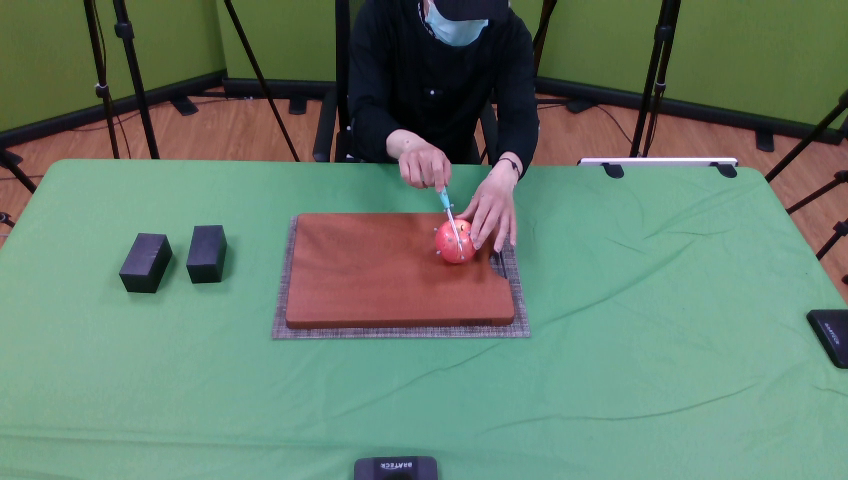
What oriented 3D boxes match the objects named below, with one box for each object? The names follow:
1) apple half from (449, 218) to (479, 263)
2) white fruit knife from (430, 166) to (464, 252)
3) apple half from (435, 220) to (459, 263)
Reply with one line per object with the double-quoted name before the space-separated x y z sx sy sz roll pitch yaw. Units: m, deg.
"apple half" 0.075 0.001 1.123 0.053 0.075 0.080 -7 41 -16
"white fruit knife" 0.043 -0.061 1.113 0.016 0.027 0.206 -13 56 -7
"apple half" 0.037 0.007 1.113 0.033 0.081 0.080 -8 47 -14
